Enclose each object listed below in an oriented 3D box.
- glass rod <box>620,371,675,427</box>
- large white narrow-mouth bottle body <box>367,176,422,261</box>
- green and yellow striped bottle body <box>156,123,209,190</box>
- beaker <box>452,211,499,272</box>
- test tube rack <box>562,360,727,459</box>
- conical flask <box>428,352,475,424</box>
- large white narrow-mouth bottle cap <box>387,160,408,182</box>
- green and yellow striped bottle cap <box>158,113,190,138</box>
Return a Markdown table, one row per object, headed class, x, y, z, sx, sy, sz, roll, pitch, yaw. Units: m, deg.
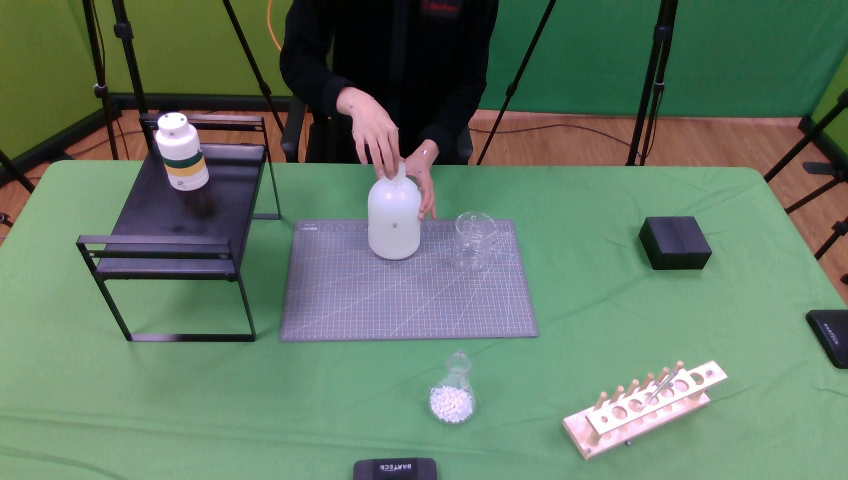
| class | x | y | z | sx | sy | sz | roll | pitch | yaw |
| --- | --- | --- | --- | --- | --- | --- | --- | --- | --- |
| glass rod | 0.316 | 0.230 | 0.863 | 0.008 | 0.200 | 0.008 | 3 | 54 | -3 |
| large white narrow-mouth bottle body | -0.055 | -0.058 | 1.128 | 0.102 | 0.195 | 0.101 | 3 | 45 | -3 |
| green and yellow striped bottle body | -0.395 | -0.145 | 0.989 | 0.063 | 0.120 | 0.063 | 2 | 46 | -2 |
| beaker | 0.093 | 0.006 | 1.141 | 0.084 | 0.101 | 0.073 | 8 | 46 | 3 |
| test tube rack | 0.341 | 0.247 | 0.940 | 0.243 | 0.085 | 0.066 | -16 | 49 | -18 |
| conical flask | 0.046 | 0.220 | 0.920 | 0.075 | 0.122 | 0.075 | 2 | 46 | -2 |
| large white narrow-mouth bottle cap | -0.047 | -0.122 | 1.064 | 0.038 | 0.024 | 0.037 | 3 | 45 | -3 |
| green and yellow striped bottle cap | -0.393 | -0.180 | 0.951 | 0.045 | 0.020 | 0.045 | 2 | 44 | -2 |
